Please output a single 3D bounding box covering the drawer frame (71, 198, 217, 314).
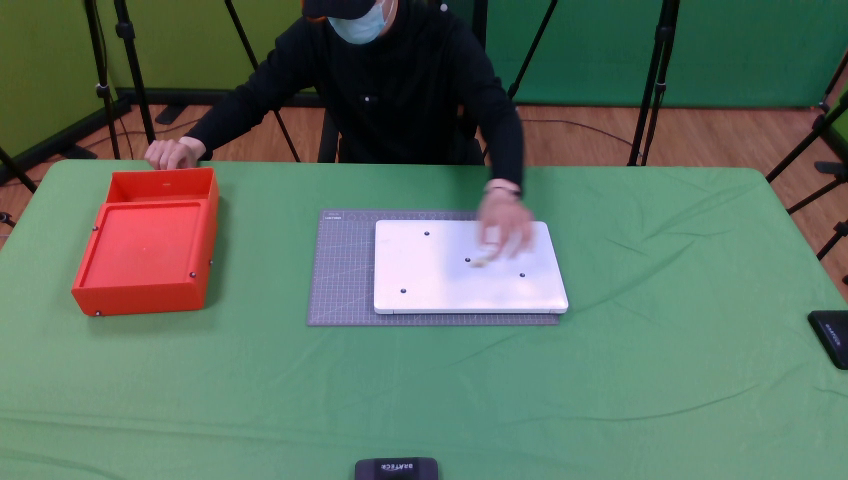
[{"bbox_3d":[-0.493,0.023,1.096,0.202,0.083,0.212,-3,47,-8],"label":"drawer frame"}]

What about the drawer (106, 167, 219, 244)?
[{"bbox_3d":[-0.507,-0.045,1.163,0.195,0.073,0.210,-3,47,-9],"label":"drawer"}]

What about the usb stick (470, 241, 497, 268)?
[{"bbox_3d":[0.102,0.027,1.058,0.021,0.027,0.059,29,47,28],"label":"usb stick"}]

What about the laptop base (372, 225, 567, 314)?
[{"bbox_3d":[0.080,0.049,1.159,0.355,0.023,0.234,0,43,-4],"label":"laptop base"}]

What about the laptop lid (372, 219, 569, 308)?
[{"bbox_3d":[0.081,0.039,1.152,0.357,0.013,0.240,1,44,-3],"label":"laptop lid"}]
